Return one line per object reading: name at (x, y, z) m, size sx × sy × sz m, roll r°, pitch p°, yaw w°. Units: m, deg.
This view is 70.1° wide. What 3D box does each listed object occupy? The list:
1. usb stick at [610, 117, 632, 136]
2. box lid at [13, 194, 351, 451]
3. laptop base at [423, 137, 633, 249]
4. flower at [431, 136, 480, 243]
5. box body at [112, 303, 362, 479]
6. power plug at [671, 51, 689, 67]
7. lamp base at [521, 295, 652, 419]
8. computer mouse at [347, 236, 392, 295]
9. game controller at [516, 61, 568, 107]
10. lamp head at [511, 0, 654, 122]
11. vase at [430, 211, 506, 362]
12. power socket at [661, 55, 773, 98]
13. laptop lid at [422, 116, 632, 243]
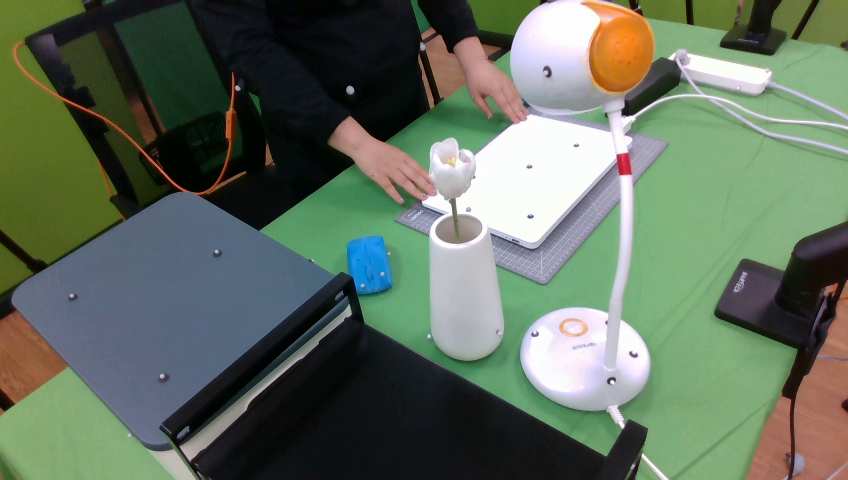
usb stick at (0.370, -0.208, 1.147) m, size 0.021 × 0.027 × 0.059 m, roll 28°, pitch 56°, yaw 31°
box lid at (-0.292, 0.067, 0.717) m, size 0.368 × 0.015 × 0.264 m, roll 25°, pitch 50°, yaw 33°
laptop base at (0.193, -0.117, 1.087) m, size 0.233 × 0.023 × 0.355 m, roll 20°, pitch 47°, yaw 35°
flower at (0.041, 0.011, 0.691) m, size 0.044 × 0.363 × 0.038 m, roll 16°, pitch 62°, yaw 14°
box body at (-0.285, 0.123, 0.766) m, size 0.361 × 0.161 × 0.255 m, roll 25°, pitch 49°, yaw 33°
power plug at (0.541, -0.378, 1.301) m, size 0.073 × 0.053 × 0.035 m, roll -33°, pitch 46°, yaw -23°
lamp base at (0.201, 0.095, 0.710) m, size 0.161 × 0.181 × 0.177 m, roll -16°, pitch 43°, yaw -10°
computer mouse at (-0.086, 0.035, 0.936) m, size 0.063 × 0.041 × 0.116 m, roll -8°, pitch 44°, yaw -5°
game controller at (0.259, -0.352, 1.336) m, size 0.097 × 0.052 × 0.154 m, roll -3°, pitch 41°, yaw 2°
lamp head at (0.155, -0.168, 0.564) m, size 0.113 × 0.113 × 0.122 m, roll -18°, pitch 23°, yaw -12°
vase at (0.054, 0.062, 0.757) m, size 0.098 × 0.201 × 0.097 m, roll -3°, pitch 40°, yaw 3°
power socket at (0.619, -0.352, 1.289) m, size 0.225 × 0.033 × 0.072 m, roll 26°, pitch 51°, yaw 33°
laptop lid at (0.189, -0.126, 1.081) m, size 0.239 × 0.013 × 0.358 m, roll 23°, pitch 48°, yaw 35°
